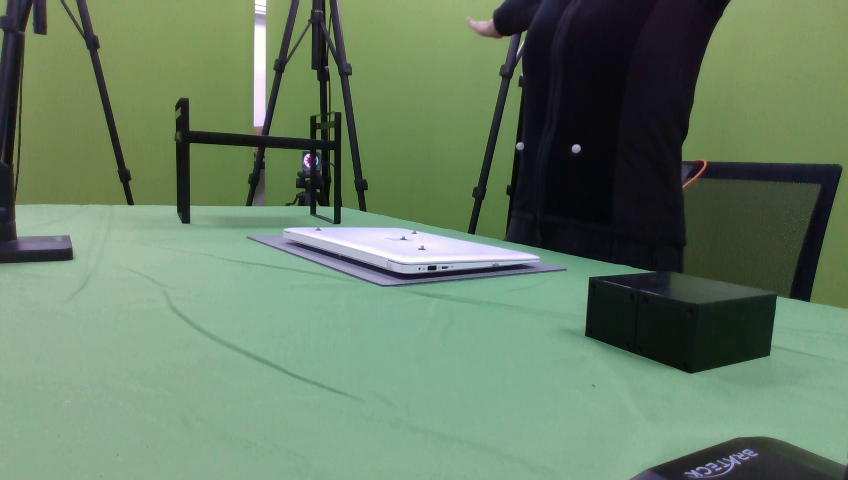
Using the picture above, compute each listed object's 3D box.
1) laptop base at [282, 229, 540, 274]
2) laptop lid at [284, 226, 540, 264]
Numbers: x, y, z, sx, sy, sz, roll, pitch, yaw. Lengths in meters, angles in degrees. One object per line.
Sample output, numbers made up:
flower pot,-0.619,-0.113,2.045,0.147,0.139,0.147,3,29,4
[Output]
laptop base,-0.034,0.014,0.895,0.237,0.023,0.352,1,7,-37
laptop lid,-0.032,0.002,0.895,0.243,0.013,0.355,0,8,-35
